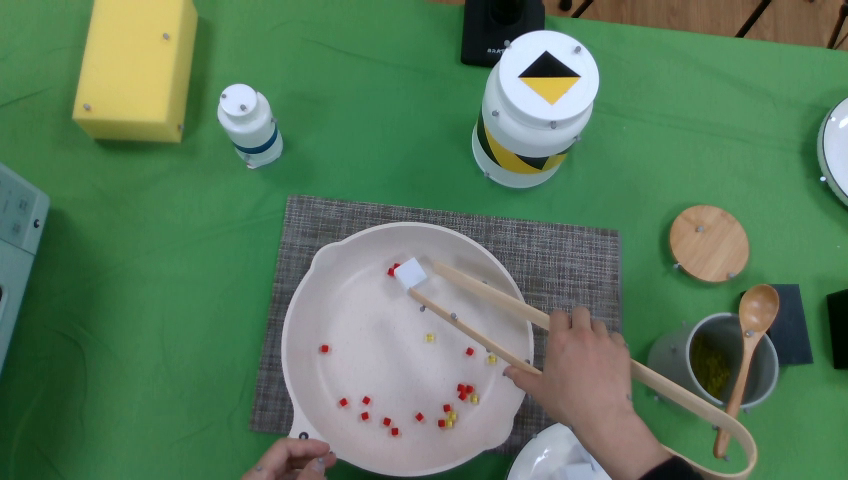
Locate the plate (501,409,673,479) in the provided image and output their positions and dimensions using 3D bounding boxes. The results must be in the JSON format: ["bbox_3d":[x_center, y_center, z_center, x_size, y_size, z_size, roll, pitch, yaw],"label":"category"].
[{"bbox_3d":[0.189,0.305,0.710,0.208,0.039,0.206,1,75,-4],"label":"plate"}]

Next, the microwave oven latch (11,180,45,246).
[{"bbox_3d":[-0.491,-0.034,0.740,0.030,0.029,0.079,9,74,-2],"label":"microwave oven latch"}]

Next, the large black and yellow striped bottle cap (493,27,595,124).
[{"bbox_3d":[0.136,-0.187,0.685,0.115,0.019,0.114,1,75,-3],"label":"large black and yellow striped bottle cap"}]

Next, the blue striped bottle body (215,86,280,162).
[{"bbox_3d":[-0.225,-0.152,0.769,0.063,0.121,0.062,1,73,-3],"label":"blue striped bottle body"}]

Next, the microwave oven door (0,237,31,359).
[{"bbox_3d":[-0.508,0.146,0.582,0.039,0.245,0.354,6,73,-1],"label":"microwave oven door"}]

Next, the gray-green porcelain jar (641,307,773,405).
[{"bbox_3d":[0.327,0.143,0.722,0.106,0.127,0.105,1,74,-4],"label":"gray-green porcelain jar"}]

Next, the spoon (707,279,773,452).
[{"bbox_3d":[0.336,0.134,0.652,0.041,0.022,0.193,22,77,-1],"label":"spoon"}]

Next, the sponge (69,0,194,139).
[{"bbox_3d":[-0.388,-0.245,0.814,0.118,0.061,0.205,1,75,-4],"label":"sponge"}]

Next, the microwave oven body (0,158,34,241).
[{"bbox_3d":[-0.650,0.090,0.593,0.326,0.261,0.439,7,74,-2],"label":"microwave oven body"}]

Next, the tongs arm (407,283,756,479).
[{"bbox_3d":[0.135,0.129,0.621,0.381,0.027,0.050,32,59,32],"label":"tongs arm"}]

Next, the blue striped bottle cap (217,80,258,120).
[{"bbox_3d":[-0.222,-0.167,0.720,0.044,0.021,0.044,1,76,-4],"label":"blue striped bottle cap"}]

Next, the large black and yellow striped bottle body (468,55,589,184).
[{"bbox_3d":[0.130,-0.163,0.765,0.131,0.185,0.130,1,73,-3],"label":"large black and yellow striped bottle body"}]

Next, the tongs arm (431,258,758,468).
[{"bbox_3d":[0.153,0.110,0.634,0.384,0.028,0.028,29,54,31],"label":"tongs arm"}]

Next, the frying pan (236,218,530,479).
[{"bbox_3d":[-0.096,0.183,0.688,0.487,0.103,0.305,-40,79,-22],"label":"frying pan"}]

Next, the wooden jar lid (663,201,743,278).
[{"bbox_3d":[0.376,0.000,0.822,0.108,0.021,0.108,1,75,-3],"label":"wooden jar lid"}]

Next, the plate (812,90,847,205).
[{"bbox_3d":[0.653,-0.121,0.865,0.209,0.038,0.208,1,74,-3],"label":"plate"}]
